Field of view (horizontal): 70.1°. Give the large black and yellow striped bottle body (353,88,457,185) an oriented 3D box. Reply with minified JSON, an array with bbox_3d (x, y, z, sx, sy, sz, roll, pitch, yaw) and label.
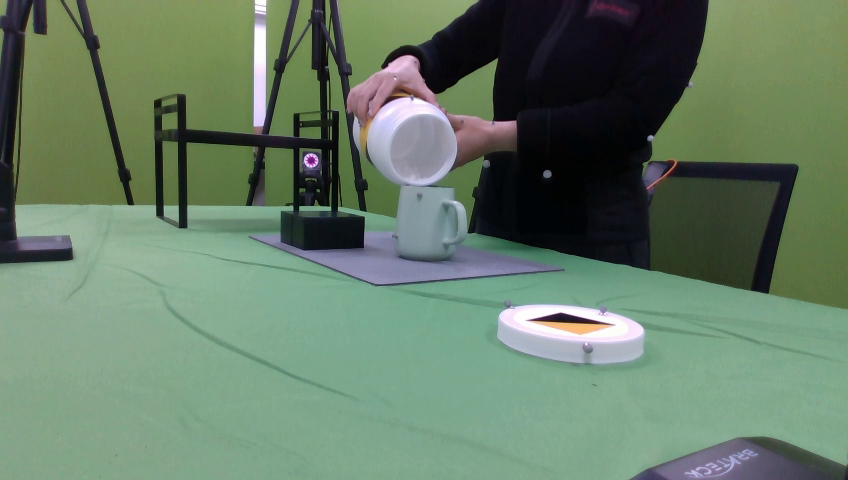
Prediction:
[{"bbox_3d":[-0.030,-0.162,0.945,0.131,0.130,0.183,-1,21,-20],"label":"large black and yellow striped bottle body"}]

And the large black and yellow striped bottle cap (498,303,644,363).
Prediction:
[{"bbox_3d":[0.117,0.072,0.486,0.115,0.019,0.115,1,8,0],"label":"large black and yellow striped bottle cap"}]

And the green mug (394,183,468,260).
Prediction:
[{"bbox_3d":[0.015,-0.026,0.858,0.093,0.105,0.124,-3,9,-41],"label":"green mug"}]
